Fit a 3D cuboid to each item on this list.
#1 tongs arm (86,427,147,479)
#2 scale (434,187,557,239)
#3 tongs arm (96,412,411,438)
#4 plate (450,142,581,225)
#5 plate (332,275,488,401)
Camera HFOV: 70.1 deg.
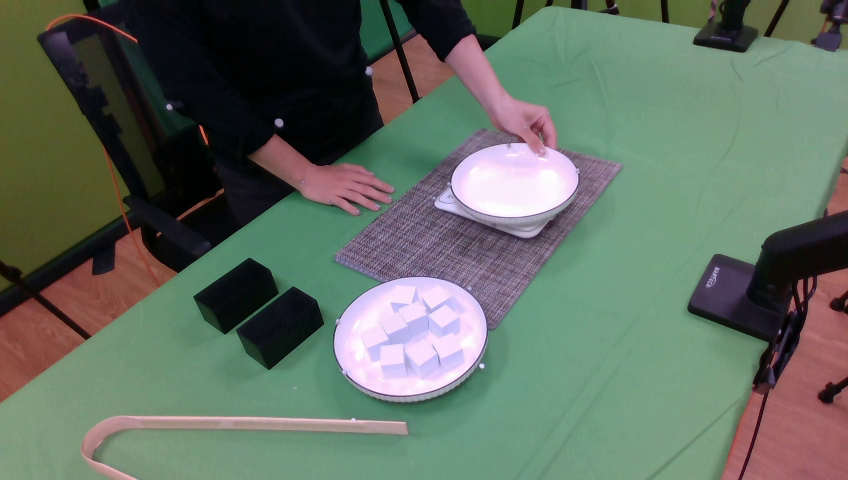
[{"bbox_3d":[-0.232,0.280,0.665,0.383,0.026,0.051,9,42,20],"label":"tongs arm"},{"bbox_3d":[0.132,-0.075,1.025,0.199,0.032,0.149,22,48,30],"label":"scale"},{"bbox_3d":[-0.208,0.227,0.732,0.387,0.028,0.028,-1,43,7],"label":"tongs arm"},{"bbox_3d":[0.148,-0.088,0.987,0.209,0.038,0.208,-4,41,4],"label":"plate"},{"bbox_3d":[-0.017,0.131,0.808,0.207,0.039,0.206,-4,41,4],"label":"plate"}]
